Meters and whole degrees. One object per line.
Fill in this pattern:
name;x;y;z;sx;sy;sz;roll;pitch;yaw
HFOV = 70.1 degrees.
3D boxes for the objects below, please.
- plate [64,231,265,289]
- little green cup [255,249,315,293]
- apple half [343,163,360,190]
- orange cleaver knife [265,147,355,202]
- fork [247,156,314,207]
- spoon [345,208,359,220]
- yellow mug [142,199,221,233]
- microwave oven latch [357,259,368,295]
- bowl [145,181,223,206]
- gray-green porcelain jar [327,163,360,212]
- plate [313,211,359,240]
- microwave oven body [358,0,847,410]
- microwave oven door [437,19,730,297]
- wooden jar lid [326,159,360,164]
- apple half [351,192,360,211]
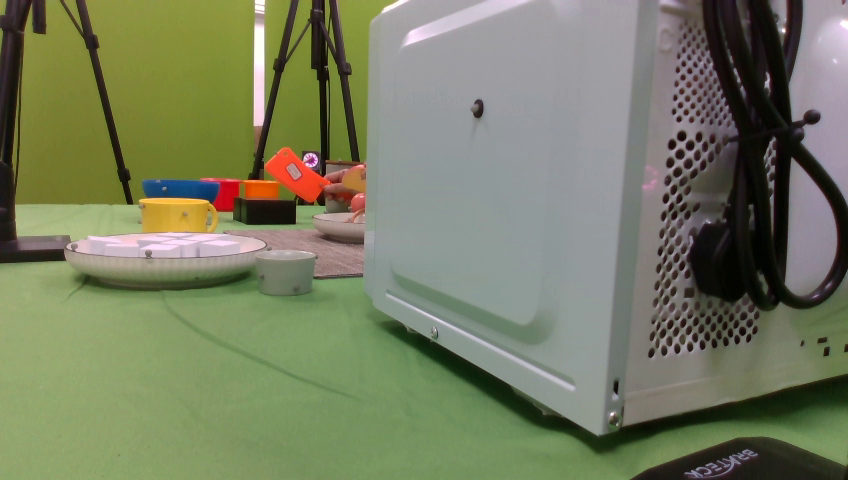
plate;-0.288;0.021;0.687;0.208;0.039;0.207;2;8;0
little green cup;-0.144;0.032;0.627;0.061;0.038;0.061;2;5;0
apple half;-0.112;-0.126;1.145;0.081;0.032;0.081;-2;-33;-1
orange cleaver knife;-0.243;-0.124;1.318;0.212;0.077;0.012;32;-9;-27
fork;-0.360;-0.147;1.523;0.207;0.018;0.028;-43;14;-7
spoon;-0.124;-0.047;1.117;0.041;0.021;0.194;4;19;16
yellow mug;-0.373;-0.030;0.948;0.099;0.064;0.131;5;7;30
microwave oven latch;-0.019;0.031;0.529;0.079;0.029;0.030;-1;7;-26
bowl;-0.499;-0.081;1.261;0.151;0.077;0.151;2;8;0
gray-green porcelain jar;-0.187;-0.125;1.490;0.106;0.126;0.106;2;8;0
plate;-0.091;-0.026;1.063;0.209;0.038;0.209;2;7;0
microwave oven body;0.210;-0.051;0.471;0.444;0.260;0.324;-1;7;-28
microwave oven door;0.180;-0.076;0.618;0.358;0.243;0.039;-2;9;-28
wooden jar lid;-0.185;-0.187;1.481;0.108;0.020;0.108;4;6;0
apple half;-0.105;-0.065;1.260;0.081;0.074;0.053;1;10;-34
